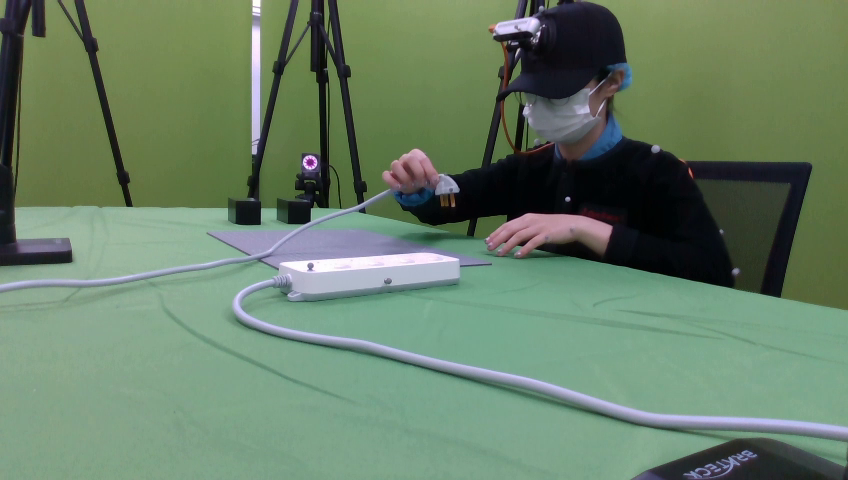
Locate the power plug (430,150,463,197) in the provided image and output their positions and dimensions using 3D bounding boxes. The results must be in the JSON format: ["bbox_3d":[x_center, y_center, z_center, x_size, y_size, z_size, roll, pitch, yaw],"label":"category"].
[{"bbox_3d":[0.031,-0.099,0.894,0.053,0.072,0.035,10,-19,-41],"label":"power plug"}]

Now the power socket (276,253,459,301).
[{"bbox_3d":[-0.056,0.037,0.674,0.228,0.032,0.072,-3,8,-38],"label":"power socket"}]
